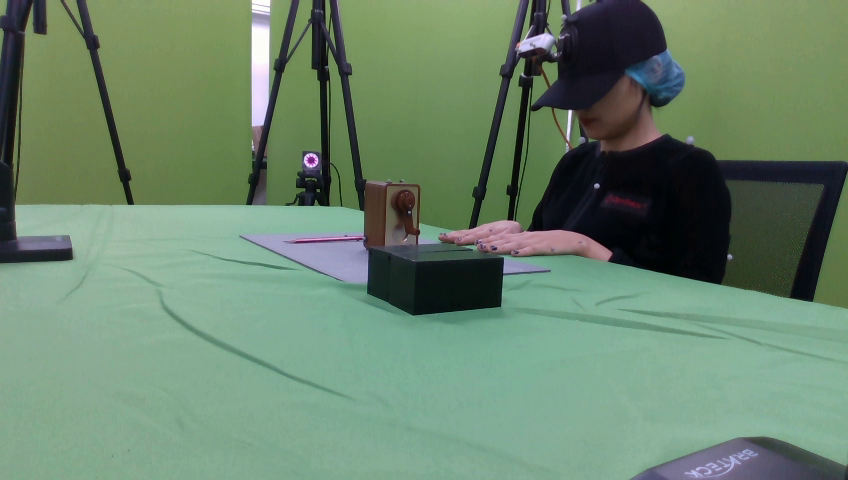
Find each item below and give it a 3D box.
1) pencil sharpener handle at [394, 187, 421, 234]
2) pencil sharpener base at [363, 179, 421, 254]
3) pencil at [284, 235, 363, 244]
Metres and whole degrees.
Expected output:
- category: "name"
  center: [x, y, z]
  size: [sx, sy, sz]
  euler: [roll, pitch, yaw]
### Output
- category: "pencil sharpener handle"
  center: [-0.019, -0.042, 0.862]
  size: [0.036, 0.068, 0.030]
  euler: [-13, 14, -29]
- category: "pencil sharpener base"
  center: [-0.048, -0.036, 0.906]
  size: [0.062, 0.107, 0.076]
  euler: [-1, 8, -31]
- category: "pencil"
  center: [-0.138, -0.002, 1.003]
  size: [0.195, 0.012, 0.012]
  euler: [-4, 9, -33]
